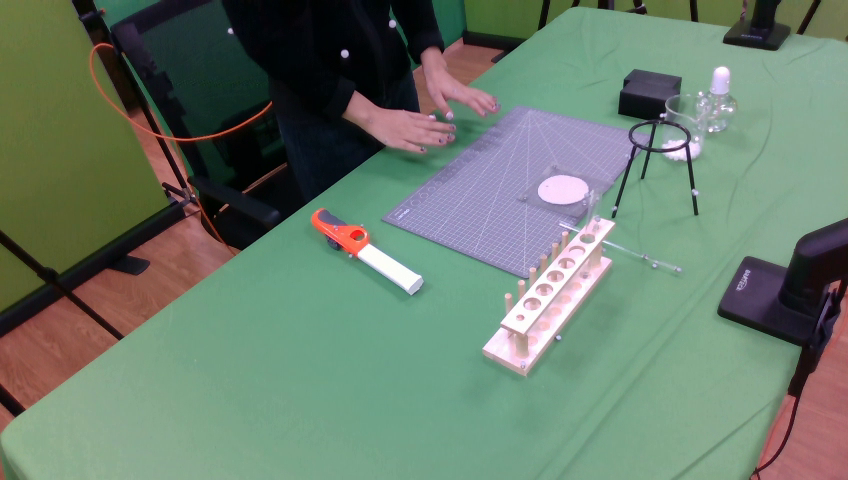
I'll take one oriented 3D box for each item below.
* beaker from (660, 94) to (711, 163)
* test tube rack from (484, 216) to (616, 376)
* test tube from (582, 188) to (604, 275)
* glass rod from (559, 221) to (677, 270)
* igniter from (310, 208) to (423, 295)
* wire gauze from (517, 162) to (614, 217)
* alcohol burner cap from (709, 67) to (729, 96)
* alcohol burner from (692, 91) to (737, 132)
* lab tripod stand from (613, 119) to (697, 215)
[{"bbox_3d":[0.457,-0.192,1.063,0.074,0.101,0.083,-7,41,4],"label":"beaker"},{"bbox_3d":[0.174,0.064,0.823,0.066,0.085,0.243,23,49,32],"label":"test tube rack"},{"bbox_3d":[0.229,-0.007,0.821,0.017,0.151,0.017,-3,42,3],"label":"test tube"},{"bbox_3d":[0.292,0.007,0.927,0.198,0.008,0.008,26,52,36],"label":"glass rod"},{"bbox_3d":[-0.103,0.012,0.981,0.057,0.025,0.274,-42,49,-19],"label":"igniter"},{"bbox_3d":[0.245,-0.088,1.046,0.120,0.011,0.125,25,50,32],"label":"wire gauze"},{"bbox_3d":[0.535,-0.288,1.094,0.034,0.048,0.033,-8,42,8],"label":"alcohol burner cap"},{"bbox_3d":[0.541,-0.262,1.118,0.078,0.119,0.077,-5,42,5],"label":"alcohol burner"},{"bbox_3d":[0.369,-0.112,0.958,0.148,0.132,0.147,-4,40,4],"label":"lab tripod stand"}]
